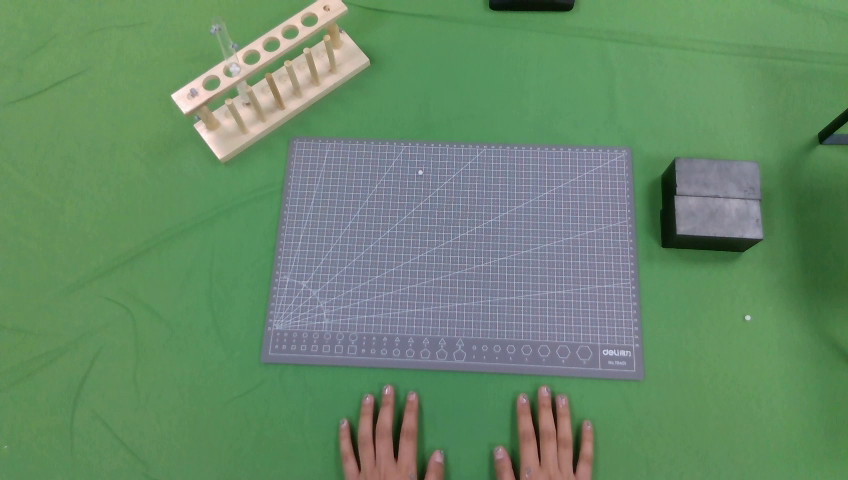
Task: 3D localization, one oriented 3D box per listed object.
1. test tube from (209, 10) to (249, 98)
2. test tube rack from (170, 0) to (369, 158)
[{"bbox_3d":[-0.233,-0.221,0.737,0.017,0.151,0.017,1,69,-3],"label":"test tube"},{"bbox_3d":[-0.193,-0.217,0.786,0.242,0.086,0.066,-37,74,-10],"label":"test tube rack"}]
